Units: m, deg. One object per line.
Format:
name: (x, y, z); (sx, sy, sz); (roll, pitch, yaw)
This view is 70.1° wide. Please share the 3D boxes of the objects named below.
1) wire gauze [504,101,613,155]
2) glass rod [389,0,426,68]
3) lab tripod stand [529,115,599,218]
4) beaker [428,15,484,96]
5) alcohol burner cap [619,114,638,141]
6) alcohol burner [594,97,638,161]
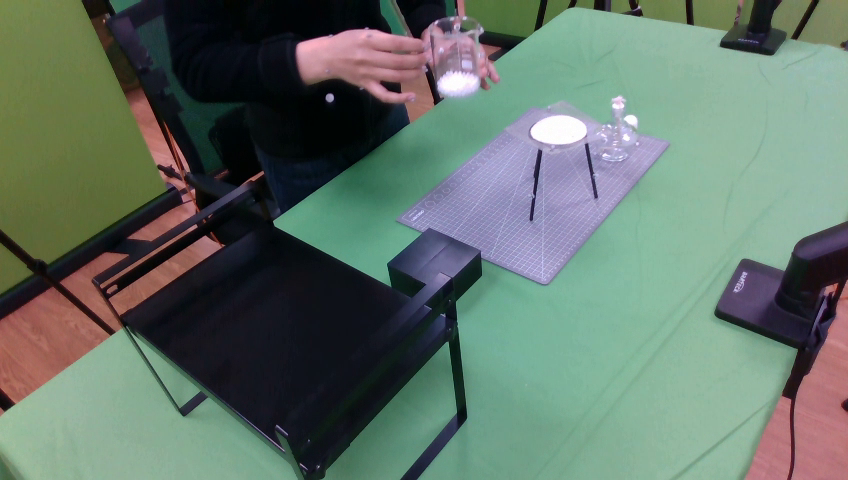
wire gauze: (0.211, -0.177, 0.955); (0.125, 0.011, 0.120); (-24, 44, -18)
glass rod: (-0.031, -0.285, 0.768); (0.008, 0.201, 0.008); (-8, 64, 17)
lab tripod stand: (0.217, -0.123, 0.996); (0.148, 0.132, 0.147); (-4, 42, 4)
beaker: (0.052, -0.275, 0.908); (0.083, 0.101, 0.074); (7, 42, 17)
alcohol burner cap: (0.389, -0.215, 1.145); (0.034, 0.048, 0.033); (-4, 41, 4)
alcohol burner: (0.345, -0.203, 1.084); (0.078, 0.119, 0.077); (-5, 43, 5)
